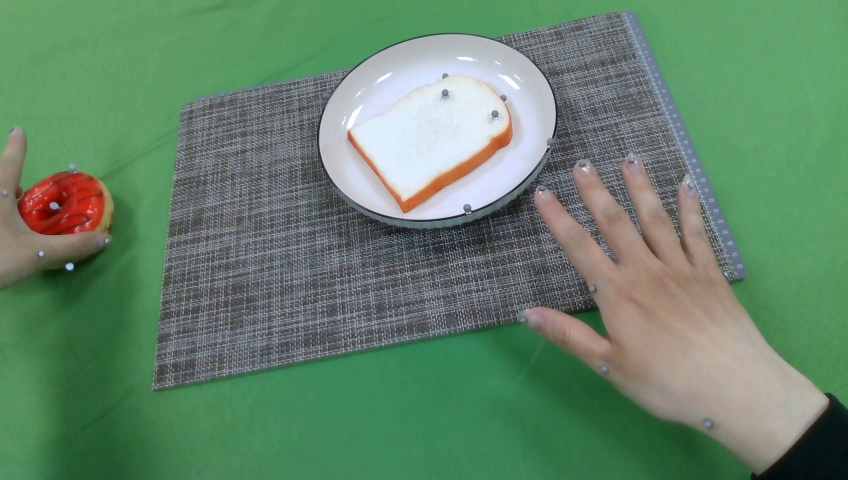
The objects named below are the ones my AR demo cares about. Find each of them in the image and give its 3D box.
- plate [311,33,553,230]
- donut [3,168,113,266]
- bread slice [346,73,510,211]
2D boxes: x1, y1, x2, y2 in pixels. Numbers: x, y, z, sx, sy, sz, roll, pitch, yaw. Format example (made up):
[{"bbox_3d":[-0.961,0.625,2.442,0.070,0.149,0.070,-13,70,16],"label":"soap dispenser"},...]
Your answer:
[{"bbox_3d":[0.007,-0.094,0.531,0.207,0.039,0.206,-4,60,7],"label":"plate"},{"bbox_3d":[-0.331,-0.022,0.548,0.099,0.049,0.098,-5,61,9],"label":"donut"},{"bbox_3d":[0.007,-0.097,0.534,0.131,0.019,0.104,-34,61,-9],"label":"bread slice"}]
